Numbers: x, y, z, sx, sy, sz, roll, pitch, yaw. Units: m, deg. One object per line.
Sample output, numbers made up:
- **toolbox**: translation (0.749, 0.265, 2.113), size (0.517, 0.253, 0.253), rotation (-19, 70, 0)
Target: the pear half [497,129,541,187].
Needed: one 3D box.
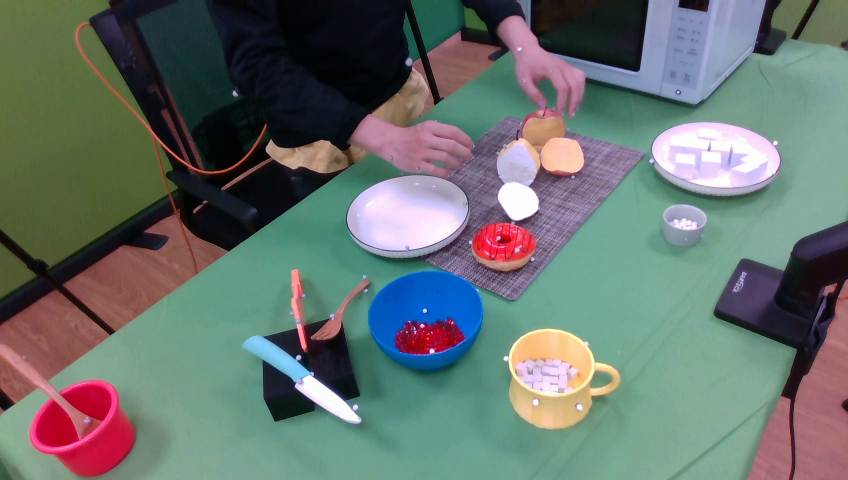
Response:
- **pear half**: translation (0.167, -0.151, 1.054), size (0.076, 0.110, 0.056), rotation (9, 43, 13)

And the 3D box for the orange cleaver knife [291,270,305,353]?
- **orange cleaver knife**: translation (-0.175, 0.094, 0.844), size (0.012, 0.077, 0.210), rotation (-11, 14, -10)

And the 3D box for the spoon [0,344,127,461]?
- **spoon**: translation (-0.433, 0.191, 0.721), size (0.194, 0.021, 0.042), rotation (47, 53, -6)

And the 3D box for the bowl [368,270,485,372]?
- **bowl**: translation (0.007, 0.118, 0.791), size (0.151, 0.077, 0.150), rotation (-5, 40, 4)

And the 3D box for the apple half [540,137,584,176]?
- **apple half**: translation (0.247, -0.146, 1.089), size (0.081, 0.033, 0.081), rotation (-2, 65, 4)

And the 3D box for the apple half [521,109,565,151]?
- **apple half**: translation (0.224, -0.212, 1.145), size (0.080, 0.075, 0.053), rotation (-6, 36, 9)

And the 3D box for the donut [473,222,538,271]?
- **donut**: translation (0.123, 0.008, 0.923), size (0.099, 0.048, 0.098), rotation (-3, 38, 3)

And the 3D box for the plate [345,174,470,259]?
- **plate**: translation (-0.026, -0.036, 1.004), size (0.209, 0.038, 0.208), rotation (-4, 40, 4)

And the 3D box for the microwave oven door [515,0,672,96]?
- **microwave oven door**: translation (0.343, -0.455, 1.259), size (0.353, 0.245, 0.039), rotation (26, 51, 33)

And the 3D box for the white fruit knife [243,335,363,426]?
- **white fruit knife**: translation (-0.148, 0.166, 0.730), size (0.206, 0.016, 0.027), rotation (26, 80, 31)

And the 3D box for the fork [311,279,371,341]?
- **fork**: translation (-0.108, 0.092, 0.832), size (0.028, 0.019, 0.207), rotation (-6, 19, 15)

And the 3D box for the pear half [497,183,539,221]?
- **pear half**: translation (0.154, -0.057, 1.006), size (0.070, 0.031, 0.088), rotation (12, 51, 8)

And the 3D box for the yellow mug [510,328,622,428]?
- **yellow mug**: translation (0.169, 0.164, 0.722), size (0.130, 0.064, 0.099), rotation (0, 40, 8)

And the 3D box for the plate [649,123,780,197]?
- **plate**: translation (0.497, -0.135, 1.046), size (0.207, 0.039, 0.206), rotation (-4, 40, 4)

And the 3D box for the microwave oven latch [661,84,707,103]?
- **microwave oven latch**: translation (0.517, -0.296, 1.204), size (0.078, 0.029, 0.030), rotation (27, 52, 35)

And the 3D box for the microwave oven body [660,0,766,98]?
- **microwave oven body**: translation (0.472, -0.513, 1.317), size (0.438, 0.261, 0.327), rotation (26, 51, 34)

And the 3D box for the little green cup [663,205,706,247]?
- **little green cup**: translation (0.396, -0.020, 0.926), size (0.061, 0.039, 0.061), rotation (-4, 40, 4)
